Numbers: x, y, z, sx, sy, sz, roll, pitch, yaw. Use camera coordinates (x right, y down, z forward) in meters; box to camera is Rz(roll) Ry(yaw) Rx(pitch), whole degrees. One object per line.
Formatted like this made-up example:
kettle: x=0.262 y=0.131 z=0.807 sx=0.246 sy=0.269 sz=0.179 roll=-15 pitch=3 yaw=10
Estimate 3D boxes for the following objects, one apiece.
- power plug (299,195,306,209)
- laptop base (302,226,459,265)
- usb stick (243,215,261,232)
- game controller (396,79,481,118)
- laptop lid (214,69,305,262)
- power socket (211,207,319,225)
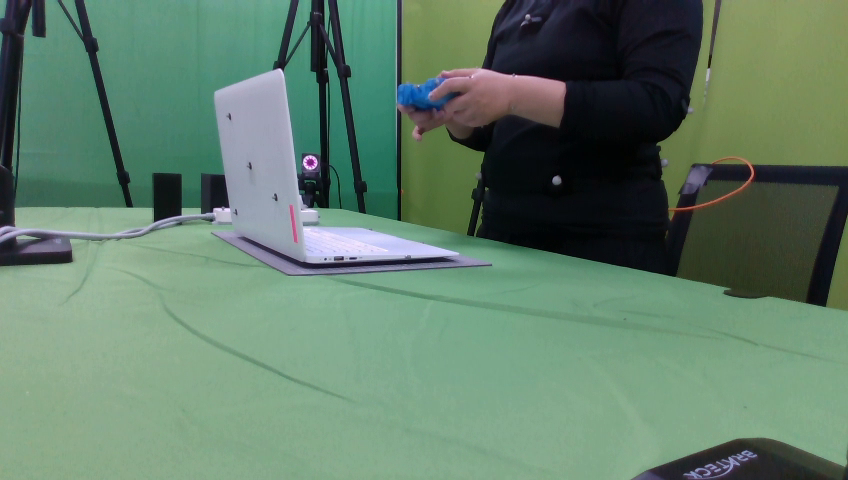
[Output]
power plug: x=-0.282 y=-0.075 z=1.342 sx=0.035 sy=0.052 sz=0.072 roll=0 pitch=4 yaw=-17
laptop base: x=-0.136 y=0.006 z=0.951 sx=0.237 sy=0.023 sz=0.352 roll=2 pitch=6 yaw=-32
usb stick: x=-0.302 y=-0.028 z=1.070 sx=0.021 sy=0.027 sz=0.059 roll=-1 pitch=12 yaw=-30
game controller: x=0.021 y=-0.244 z=1.021 sx=0.097 sy=0.051 sz=0.154 roll=6 pitch=3 yaw=-32
laptop lid: x=-0.246 y=-0.107 z=0.865 sx=0.013 sy=0.241 sz=0.355 roll=-11 pitch=14 yaw=-30
power socket: x=-0.334 y=-0.051 z=1.281 sx=0.228 sy=0.032 sz=0.072 roll=-1 pitch=9 yaw=-29
